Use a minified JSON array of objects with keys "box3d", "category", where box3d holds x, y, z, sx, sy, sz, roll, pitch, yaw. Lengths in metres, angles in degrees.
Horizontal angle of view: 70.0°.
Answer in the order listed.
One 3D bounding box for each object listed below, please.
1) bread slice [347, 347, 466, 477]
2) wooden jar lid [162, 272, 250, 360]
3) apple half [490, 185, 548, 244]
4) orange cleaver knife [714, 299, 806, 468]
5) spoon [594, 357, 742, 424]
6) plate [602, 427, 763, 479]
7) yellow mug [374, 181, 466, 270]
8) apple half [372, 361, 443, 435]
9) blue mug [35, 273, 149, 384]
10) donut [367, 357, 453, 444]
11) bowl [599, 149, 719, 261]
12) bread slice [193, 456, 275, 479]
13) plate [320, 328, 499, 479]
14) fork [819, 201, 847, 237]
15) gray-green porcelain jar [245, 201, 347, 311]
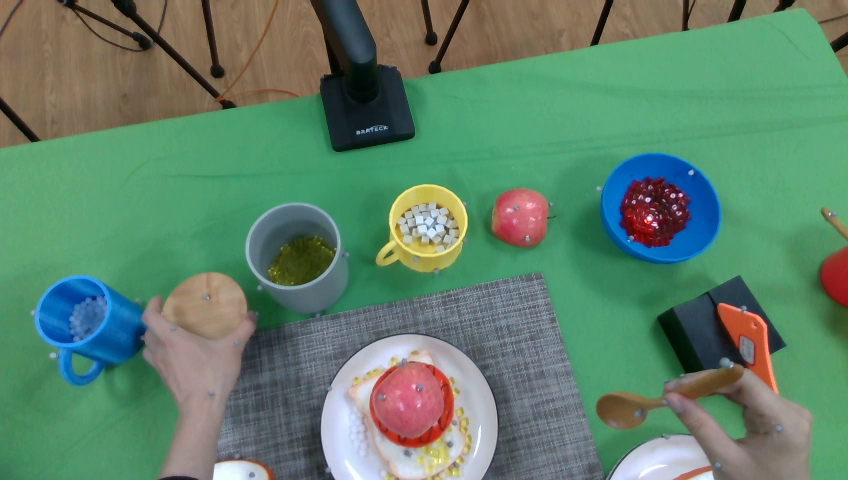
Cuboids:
[{"box3d":[-0.012,0.207,0.716,0.107,0.018,0.133,-28,73,-11],"category":"bread slice"},{"box3d":[-0.260,0.092,0.729,0.108,0.021,0.107,-3,70,8],"category":"wooden jar lid"},{"box3d":[0.128,-0.040,0.806,0.074,0.053,0.080,9,70,4],"category":"apple half"},{"box3d":[0.401,0.169,0.727,0.012,0.077,0.211,-21,94,-17],"category":"orange cleaver knife"},{"box3d":[0.188,0.123,0.482,0.041,0.194,0.021,38,67,7],"category":"spoon"},{"box3d":[0.296,0.323,0.691,0.209,0.038,0.207,1,70,-2],"category":"plate"},{"box3d":[-0.010,-0.009,0.782,0.131,0.064,0.099,-35,75,-13],"category":"yellow mug"},{"box3d":[-0.017,0.171,0.659,0.081,0.033,0.081,-1,70,4],"category":"apple half"},{"box3d":[-0.385,0.109,0.701,0.082,0.106,0.116,8,70,0],"category":"blue mug"},{"box3d":[-0.015,0.183,0.693,0.099,0.048,0.098,1,70,-2],"category":"donut"},{"box3d":[0.296,-0.036,0.798,0.151,0.077,0.150,1,71,-2],"category":"bowl"},{"box3d":[-0.217,0.312,0.680,0.105,0.019,0.130,-4,72,-5],"category":"bread slice"},{"box3d":[-0.017,0.209,0.714,0.208,0.039,0.206,1,71,-2],"category":"plate"},{"box3d":[0.535,0.006,0.757,0.209,0.018,0.028,34,65,-35],"category":"fork"},{"box3d":[-0.148,0.025,0.731,0.106,0.127,0.105,1,70,-2],"category":"gray-green porcelain jar"}]
